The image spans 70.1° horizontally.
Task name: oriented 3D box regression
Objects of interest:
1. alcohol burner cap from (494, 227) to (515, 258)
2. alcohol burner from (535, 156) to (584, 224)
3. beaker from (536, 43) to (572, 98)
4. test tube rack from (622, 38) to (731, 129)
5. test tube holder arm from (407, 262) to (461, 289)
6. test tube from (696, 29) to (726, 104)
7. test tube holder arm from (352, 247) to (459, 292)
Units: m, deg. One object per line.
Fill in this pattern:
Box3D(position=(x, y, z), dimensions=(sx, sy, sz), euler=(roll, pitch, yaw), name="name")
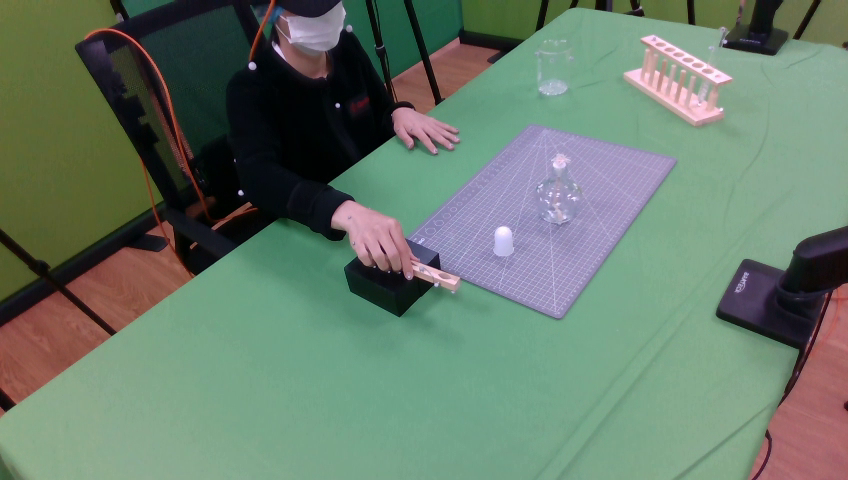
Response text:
Box3D(position=(0.124, 0.001, 0.936), dimensions=(0.034, 0.048, 0.033), euler=(-4, 40, 4), name="alcohol burner cap")
Box3D(position=(0.217, -0.085, 0.967), dimensions=(0.078, 0.119, 0.077), euler=(-3, 41, 3), name="alcohol burner")
Box3D(position=(0.280, -0.368, 1.311), dimensions=(0.074, 0.101, 0.084), euler=(4, 41, 14), name="beaker")
Box3D(position=(0.506, -0.325, 1.234), dimensions=(0.067, 0.085, 0.240), euler=(-18, 41, -11), name="test tube rack")
Box3D(position=(0.012, 0.049, 0.846), dimensions=(0.087, 0.015, 0.010), euler=(17, 37, 26), name="test tube holder arm")
Box3D(position=(0.544, -0.326, 1.150), dimensions=(0.017, 0.151, 0.017), euler=(-1, 41, 1), name="test tube")
Box3D(position=(-0.030, 0.040, 0.862), dimensions=(0.177, 0.015, 0.013), euler=(16, 36, 25), name="test tube holder arm")
